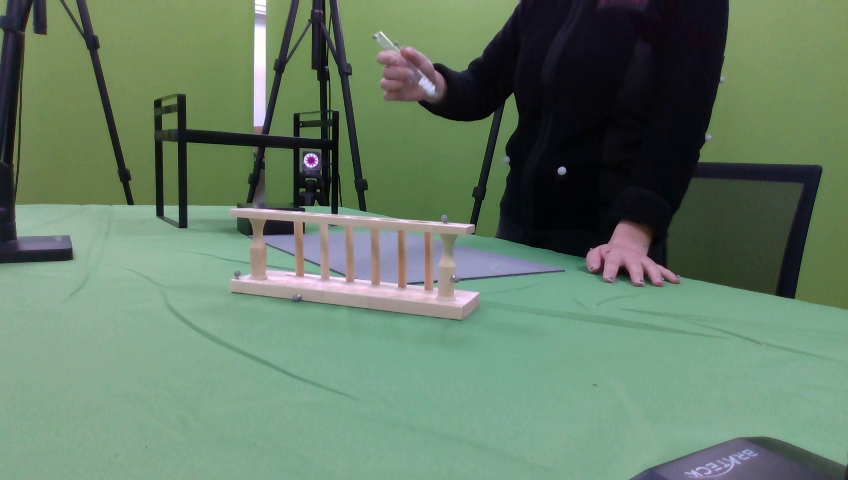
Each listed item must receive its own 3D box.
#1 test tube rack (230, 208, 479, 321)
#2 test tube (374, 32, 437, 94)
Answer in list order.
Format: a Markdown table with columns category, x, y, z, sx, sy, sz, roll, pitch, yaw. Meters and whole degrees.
| category | x | y | z | sx | sy | sz | roll | pitch | yaw |
| --- | --- | --- | --- | --- | --- | --- | --- | --- | --- |
| test tube rack | -0.069 | 0.018 | 0.598 | 0.242 | 0.085 | 0.067 | 5 | 8 | 18 |
| test tube | -0.029 | -0.275 | 0.939 | 0.149 | 0.017 | 0.017 | 49 | 29 | 22 |
